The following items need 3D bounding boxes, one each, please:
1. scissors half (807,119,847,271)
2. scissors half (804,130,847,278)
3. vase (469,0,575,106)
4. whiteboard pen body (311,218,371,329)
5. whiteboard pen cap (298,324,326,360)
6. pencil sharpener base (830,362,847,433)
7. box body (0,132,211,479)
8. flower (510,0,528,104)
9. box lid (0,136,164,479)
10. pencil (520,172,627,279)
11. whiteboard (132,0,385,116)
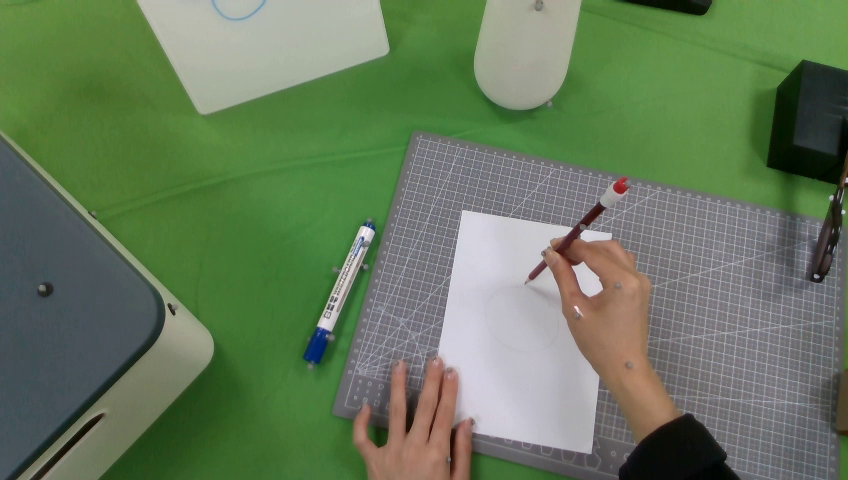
[{"bbox_3d":[0.382,-0.054,0.562,0.013,0.040,0.174,15,74,24],"label":"scissors half"},{"bbox_3d":[0.391,-0.049,0.580,0.012,0.040,0.175,15,92,29],"label":"scissors half"},{"bbox_3d":[0.094,-0.213,0.568,0.098,0.201,0.097,0,70,1],"label":"vase"},{"bbox_3d":[-0.083,0.041,0.580,0.017,0.017,0.140,20,71,7],"label":"whiteboard pen body"},{"bbox_3d":[-0.103,0.094,0.561,0.018,0.018,0.033,19,69,7],"label":"whiteboard pen cap"},{"bbox_3d":[0.410,0.137,0.504,0.076,0.107,0.061,17,72,2],"label":"pencil sharpener base"},{"bbox_3d":[-0.394,0.052,0.501,0.362,0.161,0.254,39,76,11],"label":"box body"},{"bbox_3d":[0.090,-0.253,0.494,0.044,0.365,0.038,6,54,6],"label":"flower"},{"bbox_3d":[-0.396,0.027,0.431,0.370,0.015,0.263,39,76,11],"label":"box lid"},{"bbox_3d":[0.114,-0.003,0.501,0.012,0.195,0.012,5,64,-11],"label":"pencil"},{"bbox_3d":[-0.184,-0.311,0.575,0.217,0.308,0.142,-20,54,-6],"label":"whiteboard"}]
